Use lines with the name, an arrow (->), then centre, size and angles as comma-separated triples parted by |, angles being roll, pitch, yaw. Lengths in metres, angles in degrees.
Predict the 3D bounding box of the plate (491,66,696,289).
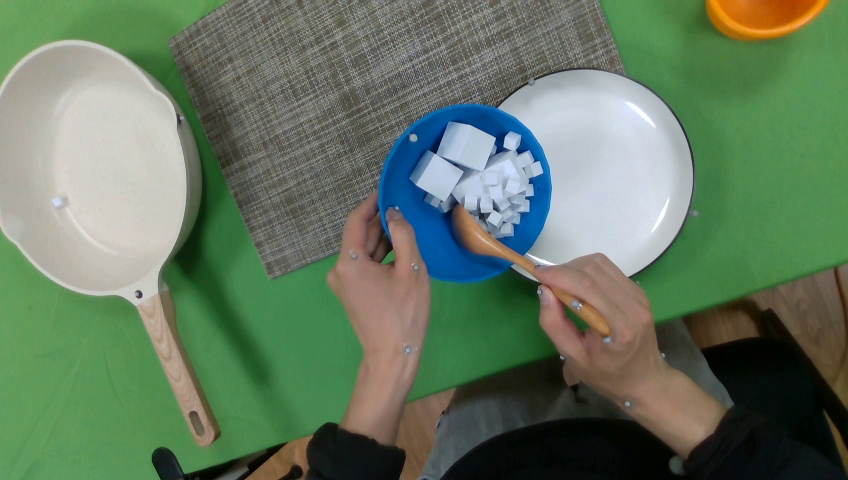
plate -> 0.145, -0.057, 0.579 | 0.207, 0.039, 0.208 | 4, 104, 16

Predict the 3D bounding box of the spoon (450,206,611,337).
spoon -> 0.076, 0.020, 0.481 | 0.191, 0.021, 0.042 | 34, 143, 45

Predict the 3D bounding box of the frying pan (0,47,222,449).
frying pan -> -0.346, 0.018, 0.715 | 0.306, 0.103, 0.486 | -26, 83, 21

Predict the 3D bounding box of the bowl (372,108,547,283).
bowl -> 0.024, -0.046, 0.537 | 0.152, 0.076, 0.152 | -5, 111, -12
